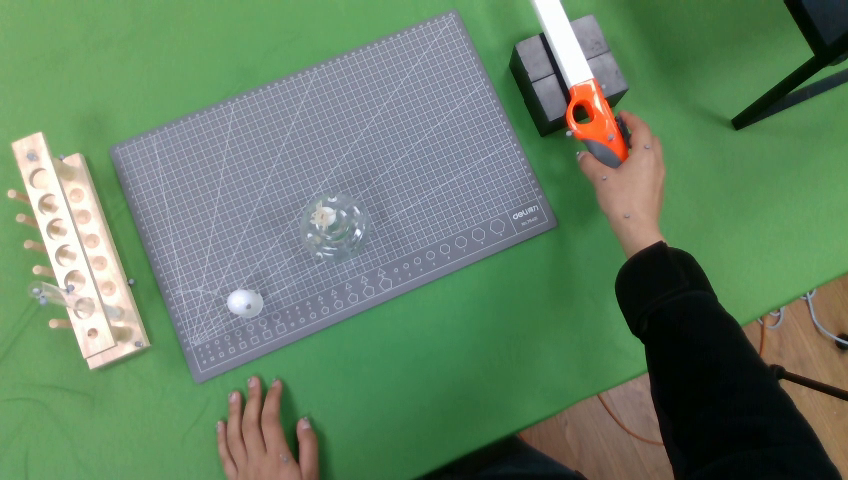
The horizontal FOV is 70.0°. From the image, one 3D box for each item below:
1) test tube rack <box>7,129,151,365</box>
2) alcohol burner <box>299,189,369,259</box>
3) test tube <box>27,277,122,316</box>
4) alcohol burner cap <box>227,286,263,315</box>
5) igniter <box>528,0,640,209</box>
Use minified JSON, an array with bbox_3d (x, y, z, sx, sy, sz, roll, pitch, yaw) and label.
[{"bbox_3d":[-0.385,0.011,0.657,0.067,0.085,0.241,-23,82,-4],"label":"test tube rack"},{"bbox_3d":[-0.099,-0.020,0.650,0.078,0.119,0.077,0,82,0],"label":"alcohol burner"},{"bbox_3d":[-0.341,0.059,0.601,0.017,0.151,0.017,0,75,0],"label":"test tube"},{"bbox_3d":[-0.200,0.065,0.671,0.034,0.048,0.033,0,80,-1],"label":"alcohol burner cap"},{"bbox_3d":[0.177,-0.165,0.677,0.057,0.025,0.275,-20,81,-1],"label":"igniter"}]
